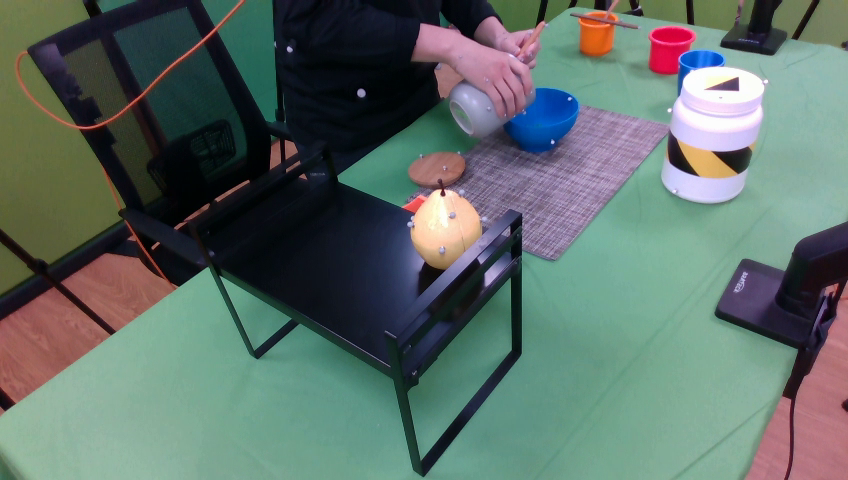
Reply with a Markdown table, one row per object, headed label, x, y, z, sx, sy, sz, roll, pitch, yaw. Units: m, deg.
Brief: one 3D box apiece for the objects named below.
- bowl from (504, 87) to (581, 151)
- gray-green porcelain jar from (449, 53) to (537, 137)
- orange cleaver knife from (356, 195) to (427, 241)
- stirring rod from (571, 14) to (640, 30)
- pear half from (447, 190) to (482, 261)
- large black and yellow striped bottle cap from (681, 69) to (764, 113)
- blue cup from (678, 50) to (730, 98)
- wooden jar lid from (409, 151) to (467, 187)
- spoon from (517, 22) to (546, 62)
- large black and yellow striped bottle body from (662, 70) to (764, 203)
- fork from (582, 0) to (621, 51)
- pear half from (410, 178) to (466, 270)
| label | x | y | z | sx | sy | sz | roll | pitch | yaw |
| --- | --- | --- | --- | --- | --- | --- | --- | --- | --- |
| bowl | 0.221 | -0.223 | 1.156 | 0.151 | 0.077 | 0.150 | -4 | 41 | 4 |
| gray-green porcelain jar | 0.117 | -0.252 | 1.070 | 0.126 | 0.106 | 0.105 | -36 | 46 | -9 |
| orange cleaver knife | -0.037 | -0.029 | 0.973 | 0.210 | 0.077 | 0.012 | -8 | 33 | 50 |
| stirring rod | 0.419 | -0.508 | 1.404 | 0.174 | 0.006 | 0.014 | 28 | 55 | 35 |
| pear half | 0.046 | -0.020 | 0.664 | 0.031 | 0.088 | 0.070 | -17 | 38 | -9 |
| large black and yellow striped bottle cap | 0.453 | -0.229 | 0.921 | 0.115 | 0.019 | 0.114 | -4 | 39 | 4 |
| blue cup | 0.542 | -0.310 | 1.194 | 0.092 | 0.101 | 0.092 | -6 | 41 | 6 |
| wooden jar lid | 0.026 | -0.131 | 1.124 | 0.108 | 0.021 | 0.108 | -8 | 35 | 6 |
| spoon | 0.155 | -0.310 | 1.087 | 0.193 | 0.022 | 0.041 | -50 | 45 | 4 |
| large black and yellow striped bottle body | 0.464 | -0.166 | 0.976 | 0.131 | 0.185 | 0.130 | -5 | 41 | 5 |
| fork | 0.446 | -0.539 | 1.438 | 0.207 | 0.019 | 0.028 | -57 | 36 | 12 |
| pear half | 0.011 | -0.019 | 0.654 | 0.056 | 0.110 | 0.076 | -16 | 37 | -9 |
